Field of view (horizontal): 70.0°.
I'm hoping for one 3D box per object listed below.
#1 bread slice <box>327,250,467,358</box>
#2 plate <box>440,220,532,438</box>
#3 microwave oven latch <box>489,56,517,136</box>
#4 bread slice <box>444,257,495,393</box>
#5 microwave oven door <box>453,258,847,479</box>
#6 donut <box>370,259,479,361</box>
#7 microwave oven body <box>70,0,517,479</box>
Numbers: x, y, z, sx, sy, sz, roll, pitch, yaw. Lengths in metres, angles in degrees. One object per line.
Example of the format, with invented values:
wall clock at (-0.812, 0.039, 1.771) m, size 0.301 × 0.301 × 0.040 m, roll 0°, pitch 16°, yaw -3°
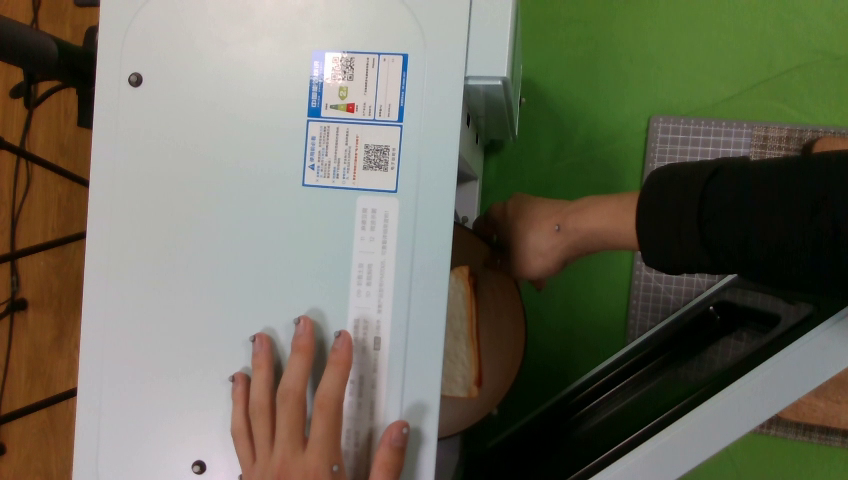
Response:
bread slice at (-0.028, 0.062, 0.586) m, size 0.132 × 0.019 × 0.105 m, roll 5°, pitch 102°, yaw -5°
plate at (-0.005, 0.078, 0.564) m, size 0.207 × 0.039 × 0.207 m, roll 0°, pitch 92°, yaw 8°
microwave oven latch at (0.078, -0.146, 0.606) m, size 0.030 × 0.029 × 0.079 m, roll 4°, pitch 92°, yaw 9°
bread slice at (-0.013, 0.082, 0.499) m, size 0.134 × 0.018 × 0.107 m, roll -17°, pitch 91°, yaw 21°
microwave oven door at (0.164, 0.138, 0.493) m, size 0.356 × 0.244 × 0.039 m, roll -38°, pitch 84°, yaw 8°
donut at (0.000, 0.063, 0.545) m, size 0.099 × 0.048 × 0.099 m, roll 0°, pitch 112°, yaw 0°
microwave oven body at (-0.097, 0.020, 0.539) m, size 0.325 × 0.260 × 0.441 m, roll 4°, pitch 92°, yaw 9°
